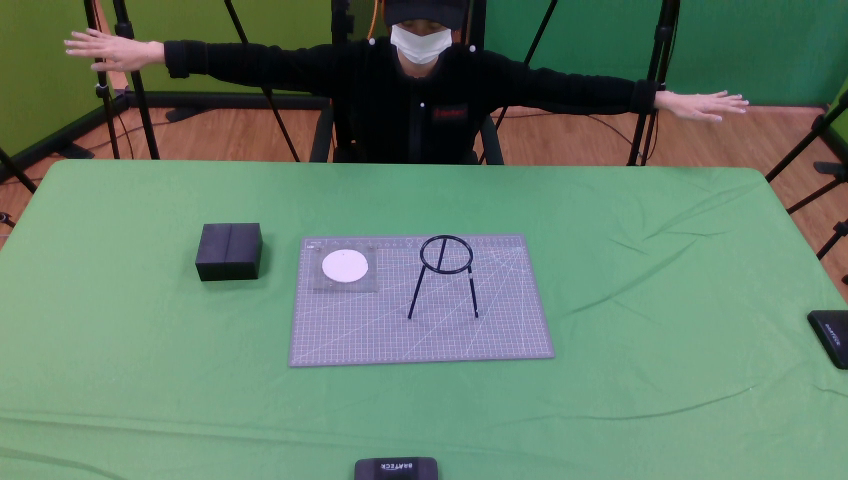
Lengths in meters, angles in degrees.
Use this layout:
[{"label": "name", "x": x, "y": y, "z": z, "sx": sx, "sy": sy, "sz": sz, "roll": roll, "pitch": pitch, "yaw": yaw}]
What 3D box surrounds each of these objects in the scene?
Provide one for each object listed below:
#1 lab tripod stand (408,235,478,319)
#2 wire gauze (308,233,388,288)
[{"label": "lab tripod stand", "x": 0.032, "y": 0.065, "z": 1.057, "sx": 0.148, "sy": 0.132, "sz": 0.147, "roll": 1, "pitch": 45, "yaw": -1}, {"label": "wire gauze", "x": -0.144, "y": 0.033, "z": 1.140, "sx": 0.121, "sy": 0.011, "sz": 0.124, "roll": -16, "pitch": 43, "yaw": -16}]
